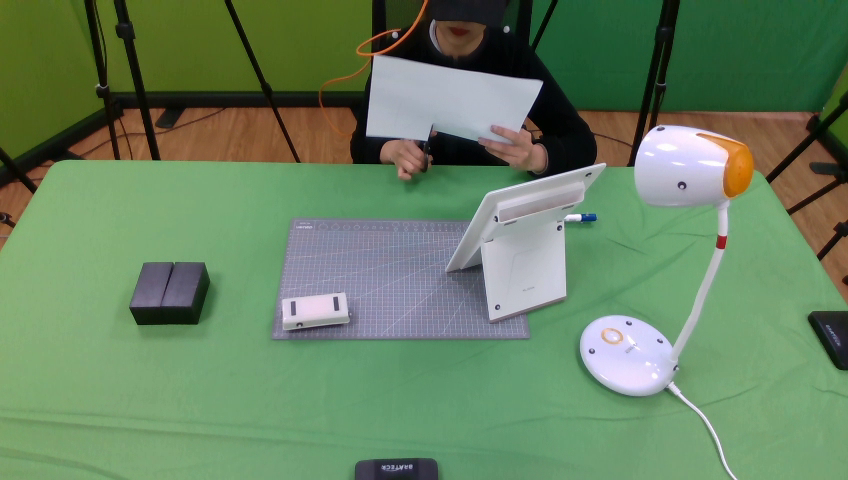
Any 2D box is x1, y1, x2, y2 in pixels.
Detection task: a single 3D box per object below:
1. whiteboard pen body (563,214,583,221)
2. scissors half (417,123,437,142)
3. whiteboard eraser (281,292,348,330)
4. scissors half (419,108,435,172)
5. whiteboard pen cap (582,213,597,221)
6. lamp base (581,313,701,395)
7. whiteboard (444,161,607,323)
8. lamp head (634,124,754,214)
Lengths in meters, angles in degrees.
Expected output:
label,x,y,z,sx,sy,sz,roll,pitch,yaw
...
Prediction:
label,x,y,z,sx,sy,sz,roll,pitch,yaw
whiteboard pen body,0.283,-0.047,1.257,0.141,0.017,0.017,-1,46,-2
scissors half,0.006,-0.229,1.261,0.013,0.040,0.175,-1,5,-12
whiteboard eraser,-0.189,0.124,1.045,0.113,0.042,0.055,-6,46,-10
scissors half,0.008,-0.205,1.254,0.013,0.176,0.040,-5,52,-14
whiteboard pen cap,0.342,-0.048,1.260,0.033,0.018,0.018,-3,46,-3
lamp base,0.361,0.144,0.973,0.178,0.181,0.160,34,53,23
whiteboard,0.186,0.025,1.029,0.217,0.306,0.143,-14,68,-18
lamp head,0.351,-0.089,0.776,0.112,0.113,0.122,-30,30,-28
